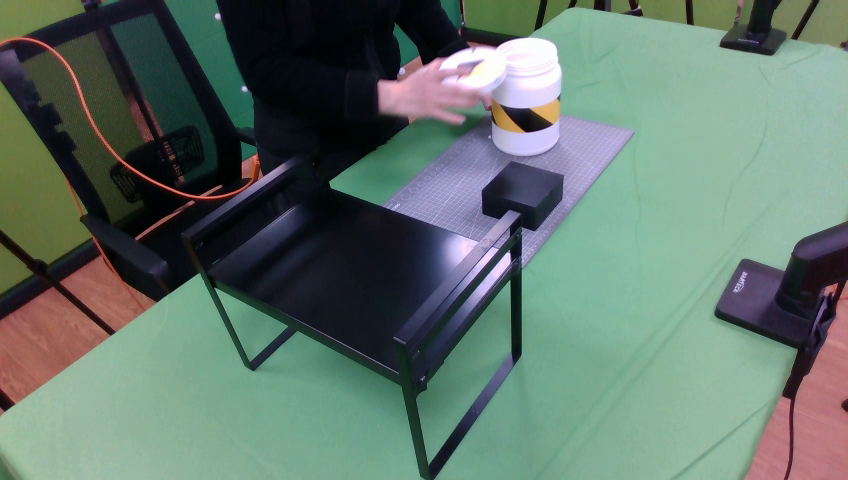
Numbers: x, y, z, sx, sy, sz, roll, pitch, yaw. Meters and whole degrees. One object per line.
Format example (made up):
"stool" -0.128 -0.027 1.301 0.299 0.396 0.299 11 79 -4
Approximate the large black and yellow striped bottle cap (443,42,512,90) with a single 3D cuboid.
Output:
"large black and yellow striped bottle cap" 0.088 -0.291 1.006 0.115 0.019 0.114 -7 49 8

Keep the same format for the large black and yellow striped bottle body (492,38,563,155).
"large black and yellow striped bottle body" 0.192 -0.268 1.130 0.131 0.185 0.130 -5 41 4
